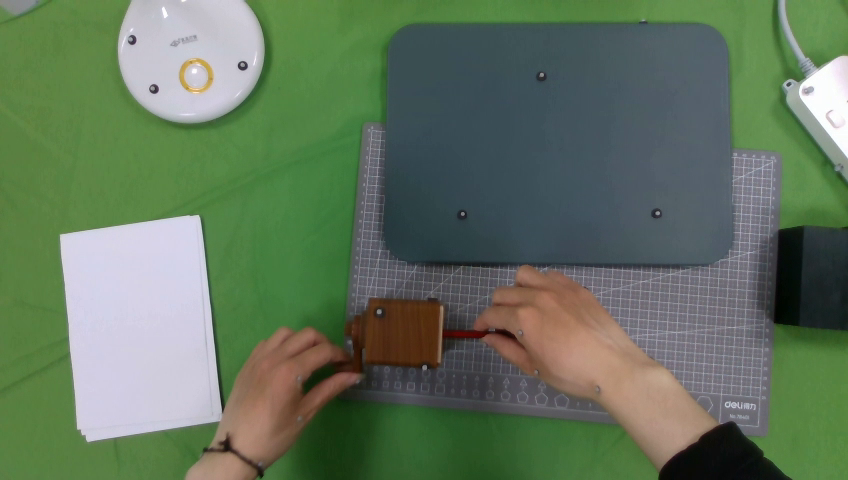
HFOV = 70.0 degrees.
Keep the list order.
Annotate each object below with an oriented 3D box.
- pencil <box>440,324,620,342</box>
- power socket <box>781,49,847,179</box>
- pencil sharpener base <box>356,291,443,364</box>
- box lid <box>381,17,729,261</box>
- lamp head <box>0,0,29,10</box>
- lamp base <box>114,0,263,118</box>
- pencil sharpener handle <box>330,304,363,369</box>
[{"bbox_3d":[0.086,0.086,0.568,0.194,0.012,0.012,3,86,1],"label":"pencil"},{"bbox_3d":[0.468,-0.097,0.630,0.072,0.032,0.226,-36,86,-1],"label":"power socket"},{"bbox_3d":[-0.021,0.082,0.594,0.076,0.107,0.061,3,87,2],"label":"pencil sharpener base"},{"bbox_3d":[0.141,-0.109,0.650,0.371,0.015,0.262,0,87,2],"label":"box lid"},{"bbox_3d":[-0.237,-0.203,0.307,0.112,0.124,0.111,-21,49,28],"label":"lamp head"},{"bbox_3d":[-0.265,-0.228,0.584,0.160,0.180,0.178,-27,83,0],"label":"lamp base"},{"bbox_3d":[-0.074,0.092,0.574,0.030,0.036,0.068,3,111,2],"label":"pencil sharpener handle"}]
